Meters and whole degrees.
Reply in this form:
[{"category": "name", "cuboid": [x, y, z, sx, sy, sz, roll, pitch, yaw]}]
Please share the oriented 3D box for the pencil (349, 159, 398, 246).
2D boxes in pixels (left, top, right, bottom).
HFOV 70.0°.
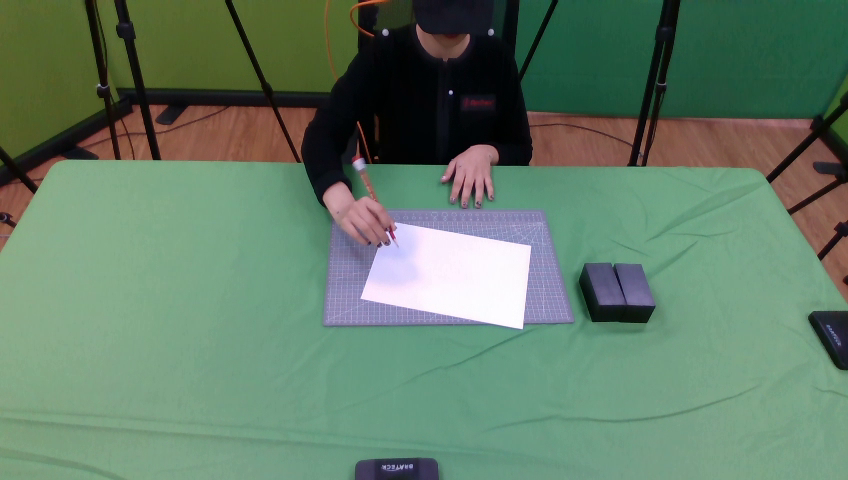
[{"category": "pencil", "cuboid": [-0.093, -0.071, 1.124, 0.012, 0.012, 0.193, -23, 75, -23]}]
